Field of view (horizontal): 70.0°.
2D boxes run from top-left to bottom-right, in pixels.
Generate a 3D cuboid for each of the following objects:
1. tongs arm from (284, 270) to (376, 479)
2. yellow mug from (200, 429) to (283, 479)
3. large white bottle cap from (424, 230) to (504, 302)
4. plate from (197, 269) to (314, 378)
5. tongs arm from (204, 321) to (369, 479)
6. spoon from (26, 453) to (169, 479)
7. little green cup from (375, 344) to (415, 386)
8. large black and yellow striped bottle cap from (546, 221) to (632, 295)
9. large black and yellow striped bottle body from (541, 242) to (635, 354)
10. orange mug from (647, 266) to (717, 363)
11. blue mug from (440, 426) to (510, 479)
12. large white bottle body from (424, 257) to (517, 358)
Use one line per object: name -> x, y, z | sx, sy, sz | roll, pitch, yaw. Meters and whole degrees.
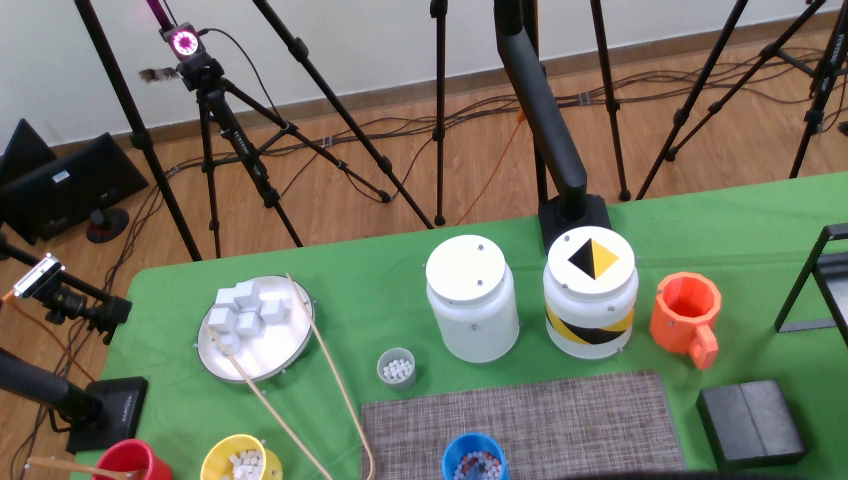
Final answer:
tongs arm -> -0.157, 0.198, 0.971 | 0.028, 0.028, 0.383 | -23, 59, -15
yellow mug -> -0.277, 0.350, 0.889 | 0.099, 0.064, 0.130 | 26, 65, 27
large white bottle cap -> 0.056, 0.036, 0.861 | 0.114, 0.018, 0.113 | -7, 53, 9
plate -> -0.290, 0.147, 1.060 | 0.207, 0.039, 0.205 | -6, 53, 9
tongs arm -> -0.225, 0.243, 0.949 | 0.051, 0.027, 0.381 | -38, 62, -19
spoon -> -0.479, 0.338, 0.895 | 0.195, 0.021, 0.041 | 24, 54, -24
little green cup -> -0.044, 0.200, 0.962 | 0.061, 0.039, 0.061 | -6, 53, 9
large black and yellow striped bottle cap -> 0.225, 0.022, 0.833 | 0.115, 0.019, 0.114 | -5, 54, 8
large black and yellow striped bottle body -> 0.242, 0.074, 0.898 | 0.130, 0.186, 0.129 | -7, 53, 9
orange mug -> 0.386, 0.113, 0.890 | 0.083, 0.102, 0.125 | -16, 48, 1
blue mug -> 0.081, 0.316, 0.801 | 0.082, 0.107, 0.115 | -39, 56, -16
large white bottle body -> 0.073, 0.085, 0.928 | 0.130, 0.186, 0.129 | -6, 53, 9
